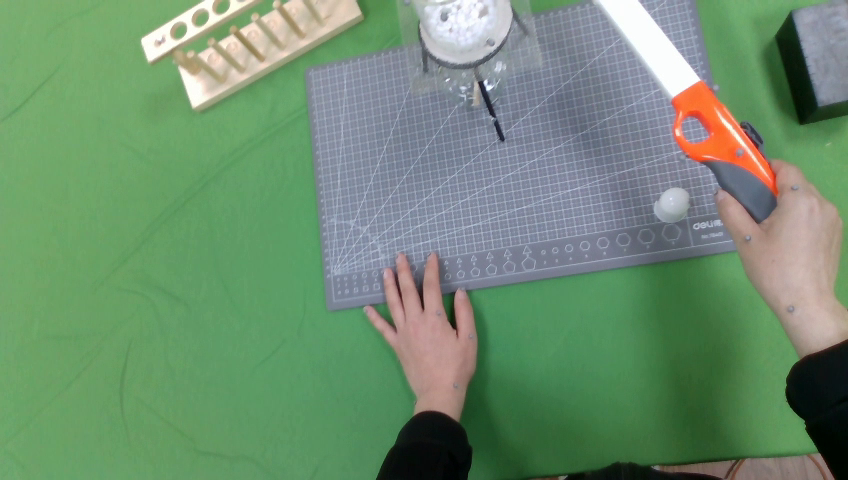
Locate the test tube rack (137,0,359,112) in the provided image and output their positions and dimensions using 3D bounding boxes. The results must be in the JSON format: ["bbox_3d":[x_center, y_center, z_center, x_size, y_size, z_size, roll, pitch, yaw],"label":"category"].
[{"bbox_3d":[-0.209,-0.252,0.726,0.242,0.085,0.066,-27,76,8],"label":"test tube rack"}]

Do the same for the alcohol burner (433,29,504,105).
[{"bbox_3d":[0.044,-0.188,0.638,0.078,0.120,0.077,-2,80,12],"label":"alcohol burner"}]

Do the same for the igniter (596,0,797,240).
[{"bbox_3d":[0.231,-0.123,0.525,0.057,0.025,0.275,-32,75,11],"label":"igniter"}]

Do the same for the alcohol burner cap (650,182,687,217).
[{"bbox_3d":[0.246,-0.042,0.606,0.034,0.048,0.034,-2,82,13],"label":"alcohol burner cap"}]

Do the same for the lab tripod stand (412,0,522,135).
[{"bbox_3d":[0.049,-0.194,0.628,0.148,0.132,0.148,-2,82,12],"label":"lab tripod stand"}]

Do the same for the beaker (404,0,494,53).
[{"bbox_3d":[0.017,-0.212,0.519,0.084,0.101,0.074,4,83,14],"label":"beaker"}]

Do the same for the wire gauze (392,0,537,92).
[{"bbox_3d":[0.034,-0.205,0.565,0.125,0.011,0.121,-10,83,9],"label":"wire gauze"}]
